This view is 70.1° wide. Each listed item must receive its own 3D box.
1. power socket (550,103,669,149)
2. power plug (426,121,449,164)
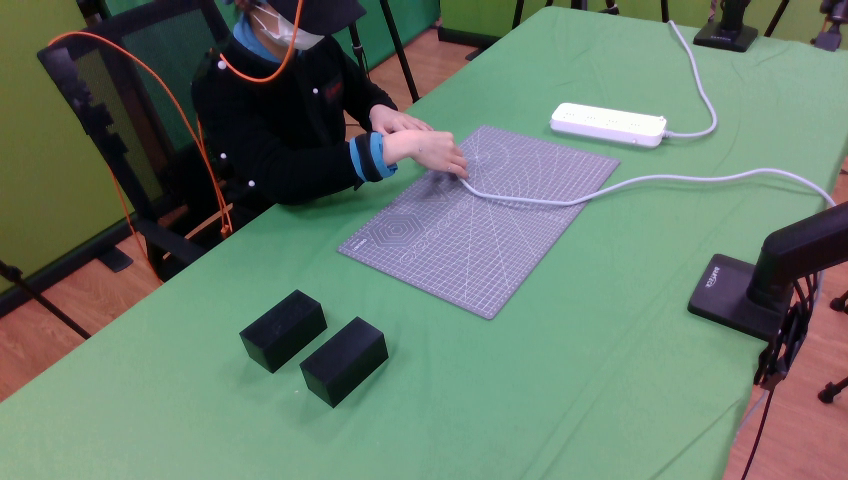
[{"bbox_3d":[0.353,-0.222,1.169,0.225,0.033,0.072,17,47,25],"label":"power socket"},{"bbox_3d":[0.034,-0.180,1.143,0.053,0.072,0.035,33,26,-18],"label":"power plug"}]
